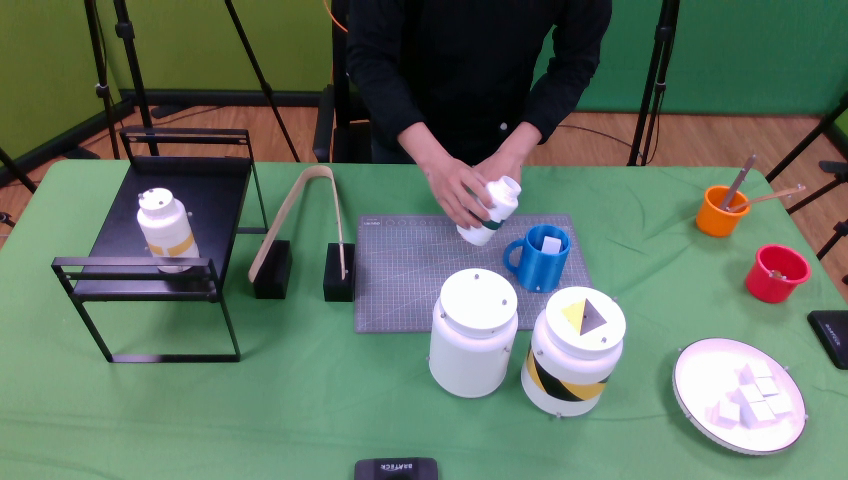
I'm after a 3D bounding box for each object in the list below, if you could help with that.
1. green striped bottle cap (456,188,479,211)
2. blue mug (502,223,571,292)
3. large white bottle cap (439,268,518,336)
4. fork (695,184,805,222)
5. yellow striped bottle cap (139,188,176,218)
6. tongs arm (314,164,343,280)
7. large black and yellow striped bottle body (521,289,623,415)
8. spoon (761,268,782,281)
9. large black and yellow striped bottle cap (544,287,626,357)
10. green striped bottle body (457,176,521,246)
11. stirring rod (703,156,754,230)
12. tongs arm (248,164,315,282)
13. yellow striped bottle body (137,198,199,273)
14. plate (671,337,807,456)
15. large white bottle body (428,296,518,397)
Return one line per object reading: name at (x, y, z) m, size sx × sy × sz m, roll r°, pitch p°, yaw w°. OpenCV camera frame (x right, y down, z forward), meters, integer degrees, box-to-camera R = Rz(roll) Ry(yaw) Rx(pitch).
green striped bottle cap at (0.083, -0.077, 1.152) m, size 0.044 × 0.020 × 0.044 m, roll 10°, pitch 61°, yaw -19°
blue mug at (0.203, 0.031, 1.121) m, size 0.116 × 0.106 × 0.082 m, roll 5°, pitch 46°, yaw 1°
large white bottle cap at (0.080, 0.089, 0.888) m, size 0.115 × 0.018 × 0.114 m, roll 2°, pitch 47°, yaw -2°
fork at (0.657, -0.075, 1.230) m, size 0.207 × 0.019 × 0.028 m, roll -23°, pitch 34°, yaw 37°
yellow striped bottle cap at (-0.363, -0.051, 0.826) m, size 0.044 × 0.019 × 0.044 m, roll 1°, pitch 47°, yaw -1°
tongs arm at (-0.188, -0.049, 1.170) m, size 0.051 × 0.026 × 0.382 m, roll -6°, pitch 35°, yaw -6°
large black and yellow striped bottle body at (0.228, 0.173, 0.937) m, size 0.131 × 0.185 × 0.130 m, roll 2°, pitch 47°, yaw -2°
spoon at (0.638, 0.060, 1.105) m, size 0.041 × 0.021 × 0.194 m, roll 38°, pitch 11°, yaw 24°
large black and yellow striped bottle cap at (0.232, 0.116, 0.876) m, size 0.115 × 0.019 × 0.114 m, roll 2°, pitch 45°, yaw -1°
green striped bottle body at (0.112, -0.051, 1.012) m, size 0.063 × 0.119 × 0.063 m, roll 26°, pitch 33°, yaw -18°
stirring rod at (0.631, -0.098, 1.258) m, size 0.014 × 0.006 × 0.176 m, roll 33°, pitch 95°, yaw 29°
tongs arm at (-0.270, -0.047, 1.165) m, size 0.028 × 0.028 × 0.385 m, roll -1°, pitch 34°, yaw 7°
yellow striped bottle body at (-0.366, -0.014, 0.864) m, size 0.063 × 0.121 × 0.062 m, roll 2°, pitch 46°, yaw -2°
plate at (0.503, 0.254, 0.984) m, size 0.208 × 0.039 × 0.206 m, roll 2°, pitch 46°, yaw -2°
large white bottle body at (0.076, 0.147, 0.950) m, size 0.131 × 0.185 × 0.130 m, roll 2°, pitch 46°, yaw -2°
